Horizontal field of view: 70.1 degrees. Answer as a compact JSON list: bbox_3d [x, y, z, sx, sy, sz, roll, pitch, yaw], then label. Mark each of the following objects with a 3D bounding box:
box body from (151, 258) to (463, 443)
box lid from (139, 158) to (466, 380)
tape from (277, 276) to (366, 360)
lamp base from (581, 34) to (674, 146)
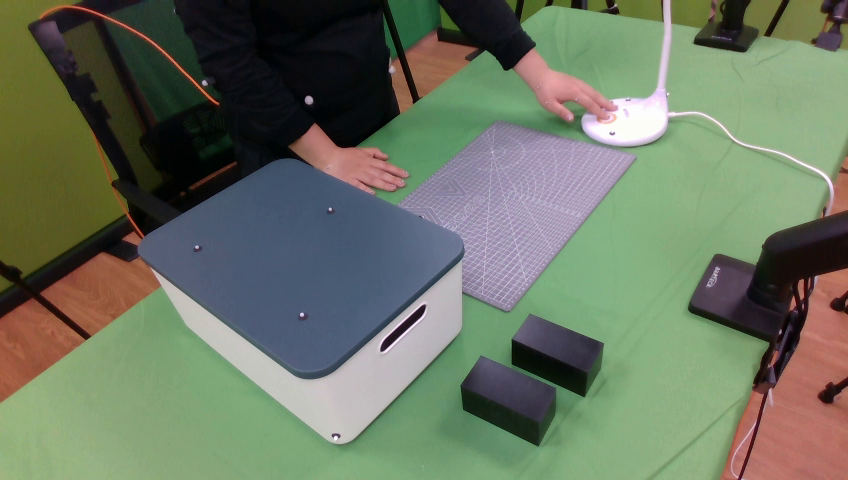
[{"bbox_3d":[-0.152,0.064,0.807,0.361,0.161,0.255,26,51,33],"label":"box body"},{"bbox_3d":[-0.158,0.010,0.758,0.368,0.015,0.264,26,50,33],"label":"box lid"},{"bbox_3d":[-0.139,0.107,0.832,0.117,0.053,0.116,-4,41,4],"label":"tape"},{"bbox_3d":[0.393,-0.291,1.129,0.180,0.181,0.159,-11,41,-8],"label":"lamp base"}]
